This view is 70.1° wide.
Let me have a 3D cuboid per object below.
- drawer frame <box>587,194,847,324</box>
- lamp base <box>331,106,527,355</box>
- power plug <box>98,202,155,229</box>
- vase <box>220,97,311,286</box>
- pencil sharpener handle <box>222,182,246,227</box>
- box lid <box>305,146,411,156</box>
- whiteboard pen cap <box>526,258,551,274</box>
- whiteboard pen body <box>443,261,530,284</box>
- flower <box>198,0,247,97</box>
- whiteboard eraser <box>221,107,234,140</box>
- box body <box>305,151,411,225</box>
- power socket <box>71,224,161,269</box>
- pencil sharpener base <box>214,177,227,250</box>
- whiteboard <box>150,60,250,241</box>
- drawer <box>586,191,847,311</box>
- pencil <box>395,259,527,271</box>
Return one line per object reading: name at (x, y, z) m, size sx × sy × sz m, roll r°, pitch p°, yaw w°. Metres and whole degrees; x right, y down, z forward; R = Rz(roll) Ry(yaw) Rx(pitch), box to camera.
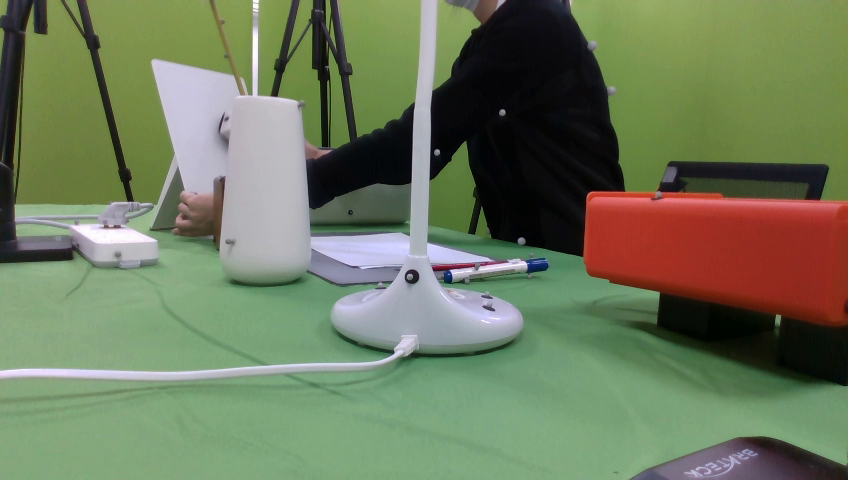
drawer frame at (0.285, 0.004, 0.508) m, size 0.203 × 0.082 × 0.212 m, roll -1°, pitch 6°, yaw -29°
lamp base at (0.006, -0.012, 0.478) m, size 0.161 × 0.180 × 0.179 m, roll 2°, pitch 10°, yaw 2°
power plug at (-0.416, -0.026, 0.848) m, size 0.073 × 0.052 × 0.035 m, roll 0°, pitch 8°, yaw -28°
vase at (-0.172, -0.052, 0.662) m, size 0.098 × 0.200 × 0.098 m, roll 3°, pitch 9°, yaw 0°
pencil sharpener handle at (-0.289, -0.055, 0.912) m, size 0.036 × 0.067 × 0.030 m, roll -2°, pitch 8°, yaw -29°
box lid at (-0.229, -0.200, 1.360) m, size 0.373 × 0.015 × 0.262 m, roll -3°, pitch 9°, yaw -33°
whiteboard pen cap at (0.141, 0.033, 0.758) m, size 0.033 × 0.018 × 0.018 m, roll -7°, pitch 11°, yaw -26°
whiteboard pen body at (0.087, 0.037, 0.734) m, size 0.141 × 0.017 × 0.017 m, roll -6°, pitch 10°, yaw -27°
flower at (-0.187, -0.133, 0.648) m, size 0.038 × 0.362 × 0.044 m, roll -1°, pitch 22°, yaw 43°
whiteboard eraser at (-0.319, -0.188, 1.101) m, size 0.041 × 0.055 × 0.113 m, roll -17°, pitch -36°, yaw 24°
box body at (-0.230, -0.126, 1.371) m, size 0.366 × 0.160 × 0.253 m, roll -2°, pitch 9°, yaw -33°
power socket at (-0.408, 0.004, 0.793) m, size 0.072 × 0.032 × 0.225 m, roll -2°, pitch 8°, yaw -38°
pencil sharpener base at (-0.265, -0.036, 0.870) m, size 0.061 × 0.107 × 0.076 m, roll -2°, pitch 8°, yaw -29°
whiteboard at (-0.408, -0.139, 1.093) m, size 0.143 × 0.305 × 0.218 m, roll -15°, pitch -1°, yaw 26°
drawer at (0.281, 0.001, 0.513) m, size 0.195 × 0.073 × 0.210 m, roll -1°, pitch 7°, yaw -29°
pencil at (0.052, 0.034, 0.783) m, size 0.195 × 0.012 × 0.012 m, roll -2°, pitch 9°, yaw -25°
